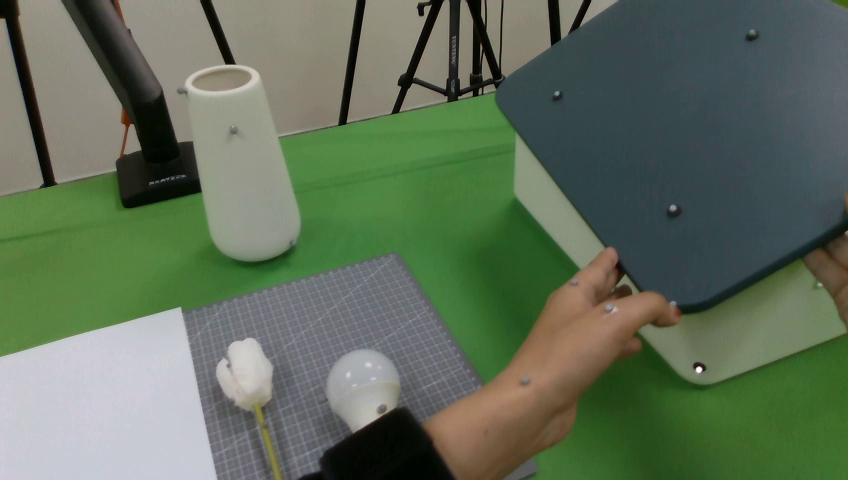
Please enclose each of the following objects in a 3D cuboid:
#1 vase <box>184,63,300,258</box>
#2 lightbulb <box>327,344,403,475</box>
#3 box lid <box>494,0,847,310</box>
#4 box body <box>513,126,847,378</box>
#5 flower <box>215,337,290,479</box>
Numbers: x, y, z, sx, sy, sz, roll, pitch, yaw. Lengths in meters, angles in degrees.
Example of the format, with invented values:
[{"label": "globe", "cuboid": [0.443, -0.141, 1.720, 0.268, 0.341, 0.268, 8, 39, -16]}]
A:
[{"label": "vase", "cuboid": [-0.192, -0.079, 0.637, 0.098, 0.202, 0.097, -1, 38, 1]}, {"label": "lightbulb", "cuboid": [-0.042, 0.134, 0.485, 0.060, 0.060, 0.106, -13, 56, -15]}, {"label": "box lid", "cuboid": [0.223, -0.123, 0.510, 0.263, 0.015, 0.367, -33, 40, 9]}, {"label": "box body", "cuboid": [0.278, -0.054, 0.635, 0.255, 0.162, 0.359, -15, 41, -17]}, {"label": "flower", "cuboid": [-0.084, 0.205, 0.426, 0.044, 0.038, 0.357, -39, 50, 1]}]
